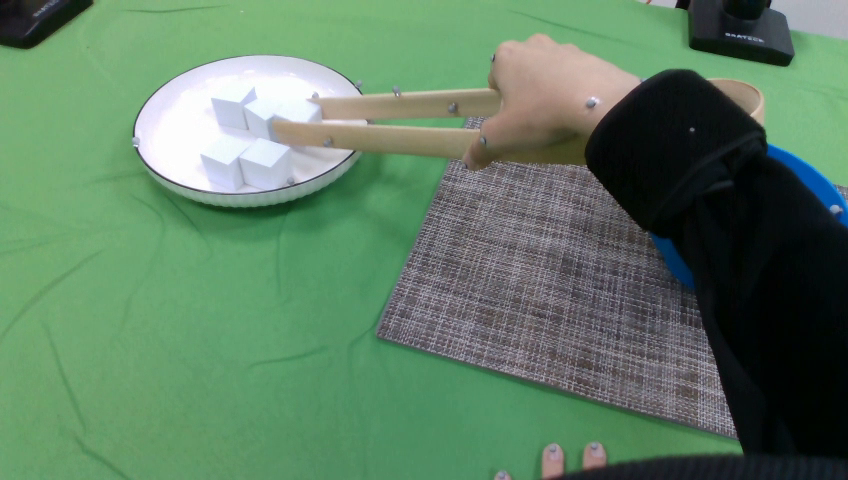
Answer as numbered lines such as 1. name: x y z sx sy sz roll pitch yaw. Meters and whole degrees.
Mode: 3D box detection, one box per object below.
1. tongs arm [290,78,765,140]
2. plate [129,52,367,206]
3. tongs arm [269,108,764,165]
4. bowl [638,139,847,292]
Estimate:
1. tongs arm: 0.037 -0.095 0.452 0.382 0.027 0.050 5 46 30
2. plate: -0.158 -0.104 0.565 0.209 0.038 0.207 2 49 -2
3. tongs arm: 0.026 -0.079 0.439 0.385 0.028 0.028 9 44 33
4. bowl: 0.237 -0.011 0.479 0.151 0.077 0.150 2 49 -2
